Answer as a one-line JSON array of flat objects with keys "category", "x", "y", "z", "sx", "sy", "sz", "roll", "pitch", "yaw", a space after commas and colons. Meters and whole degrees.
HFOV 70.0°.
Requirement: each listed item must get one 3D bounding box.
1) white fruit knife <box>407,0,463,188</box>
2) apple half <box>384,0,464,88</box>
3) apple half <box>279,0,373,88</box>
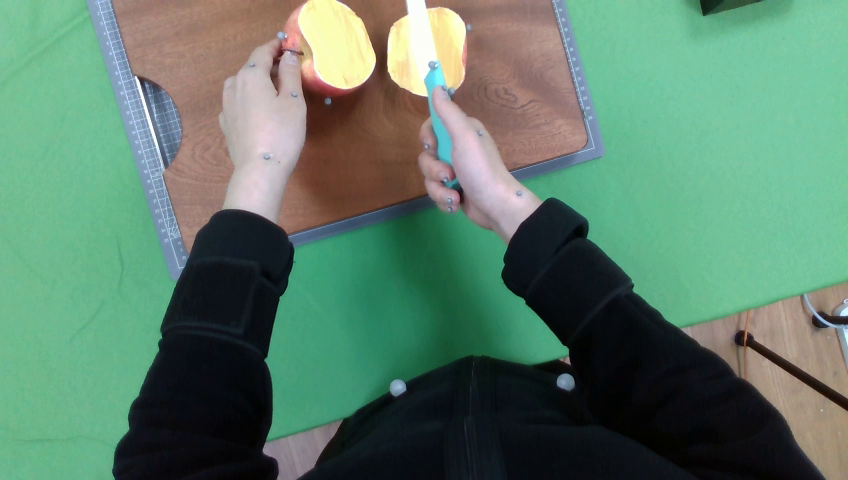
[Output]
[{"category": "white fruit knife", "x": 0.005, "y": -0.148, "z": 0.512, "sx": 0.016, "sy": 0.027, "sz": 0.207, "roll": -13, "pitch": 92, "yaw": -45}, {"category": "apple half", "x": 0.002, "y": -0.180, "z": 0.559, "sx": 0.081, "sy": 0.032, "sz": 0.081, "roll": 2, "pitch": 104, "yaw": 10}, {"category": "apple half", "x": -0.091, "y": -0.174, "z": 0.538, "sx": 0.074, "sy": 0.053, "sz": 0.081, "roll": -34, "pitch": 107, "yaw": -40}]
